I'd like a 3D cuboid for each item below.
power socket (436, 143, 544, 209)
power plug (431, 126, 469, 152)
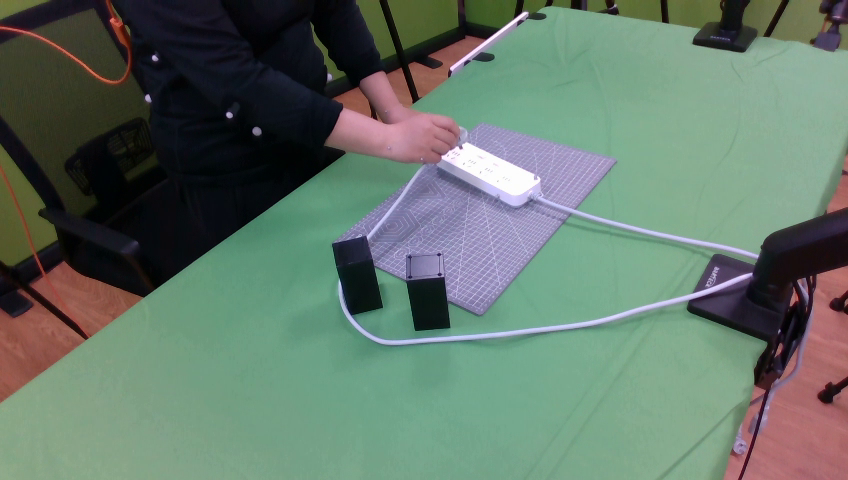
[{"bbox_3d":[0.112,-0.120,1.082,0.072,0.033,0.224,-34,47,-27],"label":"power socket"},{"bbox_3d":[0.043,-0.168,1.042,0.072,0.053,0.035,-32,54,1],"label":"power plug"}]
